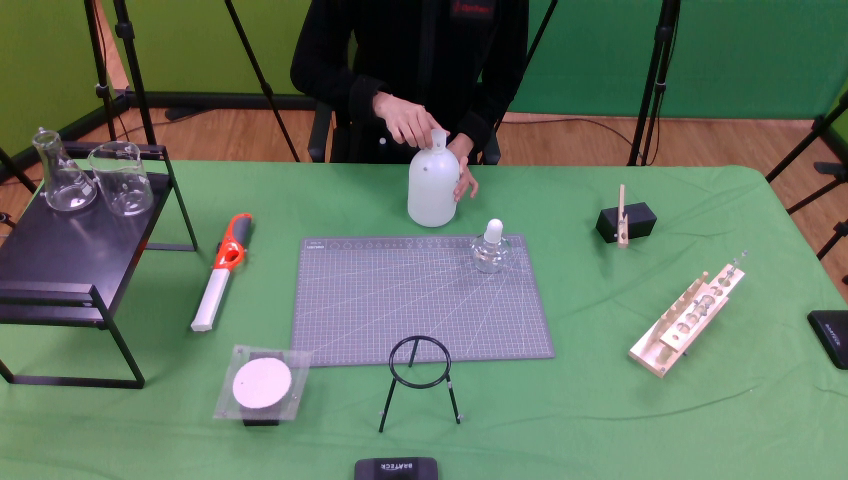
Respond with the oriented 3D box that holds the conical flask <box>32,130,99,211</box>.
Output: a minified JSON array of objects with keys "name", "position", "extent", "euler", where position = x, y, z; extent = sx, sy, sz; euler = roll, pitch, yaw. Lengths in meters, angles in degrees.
[{"name":"conical flask","position":[-0.565,-0.110,0.944],"extent":[0.075,0.122,0.075],"euler":[2,46,-2]}]

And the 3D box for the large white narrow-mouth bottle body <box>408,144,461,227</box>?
[{"name":"large white narrow-mouth bottle body","position":[0.021,-0.124,1.198],"extent":[0.102,0.195,0.101],"euler":[2,46,-2]}]

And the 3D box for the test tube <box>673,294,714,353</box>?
[{"name":"test tube","position":[0.428,0.137,0.978],"extent":[0.017,0.151,0.017],"euler":[4,47,-4]}]

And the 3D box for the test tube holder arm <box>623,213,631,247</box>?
[{"name":"test tube holder arm","position":[0.393,-0.020,1.179],"extent":[0.010,0.015,0.087],"euler":[12,46,3]}]

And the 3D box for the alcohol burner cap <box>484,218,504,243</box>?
[{"name":"alcohol burner cap","position":[0.130,-0.021,1.106],"extent":[0.034,0.048,0.033],"euler":[3,51,-3]}]

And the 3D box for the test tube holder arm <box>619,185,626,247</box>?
[{"name":"test tube holder arm","position":[0.397,-0.052,1.210],"extent":[0.013,0.015,0.177],"euler":[14,46,4]}]

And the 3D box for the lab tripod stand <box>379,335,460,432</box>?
[{"name":"lab tripod stand","position":[-0.010,0.214,0.912],"extent":[0.148,0.132,0.147],"euler":[1,45,0]}]

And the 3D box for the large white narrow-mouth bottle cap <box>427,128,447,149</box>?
[{"name":"large white narrow-mouth bottle cap","position":[0.025,-0.189,1.128],"extent":[0.038,0.024,0.037],"euler":[2,46,-2]}]

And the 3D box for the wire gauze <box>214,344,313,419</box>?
[{"name":"wire gauze","position":[-0.241,0.213,0.916],"extent":[0.121,0.011,0.124],"euler":[5,46,1]}]

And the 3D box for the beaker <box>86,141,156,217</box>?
[{"name":"beaker","position":[-0.467,-0.093,0.950],"extent":[0.084,0.101,0.073],"euler":[15,47,11]}]

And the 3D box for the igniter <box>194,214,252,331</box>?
[{"name":"igniter","position":[-0.367,0.050,1.119],"extent":[0.057,0.025,0.275],"euler":[-4,46,7]}]

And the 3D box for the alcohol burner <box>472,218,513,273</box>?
[{"name":"alcohol burner","position":[0.128,0.005,1.132],"extent":[0.078,0.120,0.077],"euler":[0,47,0]}]

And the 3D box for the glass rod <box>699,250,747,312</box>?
[{"name":"glass rod","position":[0.500,0.075,1.021],"extent":[0.008,0.201,0.008],"euler":[0,55,1]}]

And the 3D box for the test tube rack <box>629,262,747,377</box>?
[{"name":"test tube rack","position":[0.464,0.126,1.060],"extent":[0.242,0.085,0.066],"euler":[-34,56,-30]}]
